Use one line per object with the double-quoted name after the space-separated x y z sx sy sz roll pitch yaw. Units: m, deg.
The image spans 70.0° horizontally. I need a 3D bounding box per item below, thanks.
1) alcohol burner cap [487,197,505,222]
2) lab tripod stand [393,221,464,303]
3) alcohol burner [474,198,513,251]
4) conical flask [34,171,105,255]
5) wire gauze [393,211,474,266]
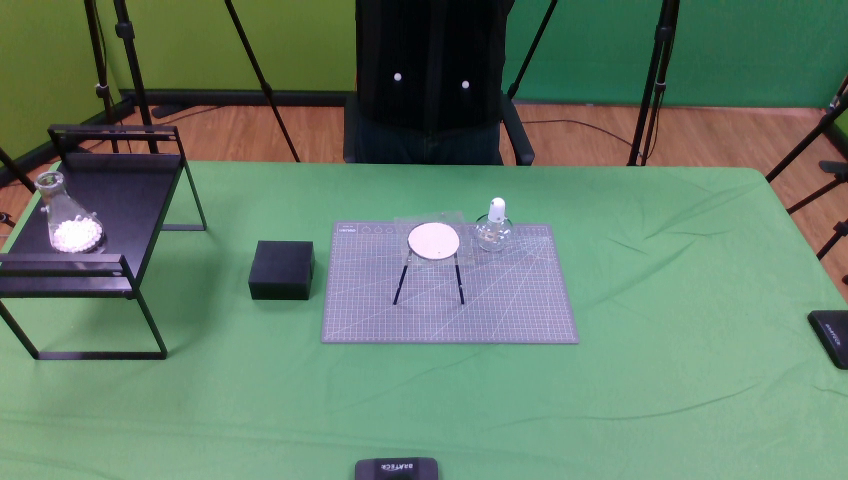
0.139 -0.060 1.149 0.034 0.048 0.033 1 43 0 "alcohol burner cap"
0.009 0.045 1.075 0.148 0.132 0.147 2 48 -2 "lab tripod stand"
0.137 -0.035 1.175 0.078 0.120 0.077 1 47 -1 "alcohol burner"
-0.522 -0.043 0.879 0.075 0.122 0.075 2 46 -2 "conical flask"
0.015 -0.003 1.028 0.125 0.011 0.120 -4 47 -7 "wire gauze"
